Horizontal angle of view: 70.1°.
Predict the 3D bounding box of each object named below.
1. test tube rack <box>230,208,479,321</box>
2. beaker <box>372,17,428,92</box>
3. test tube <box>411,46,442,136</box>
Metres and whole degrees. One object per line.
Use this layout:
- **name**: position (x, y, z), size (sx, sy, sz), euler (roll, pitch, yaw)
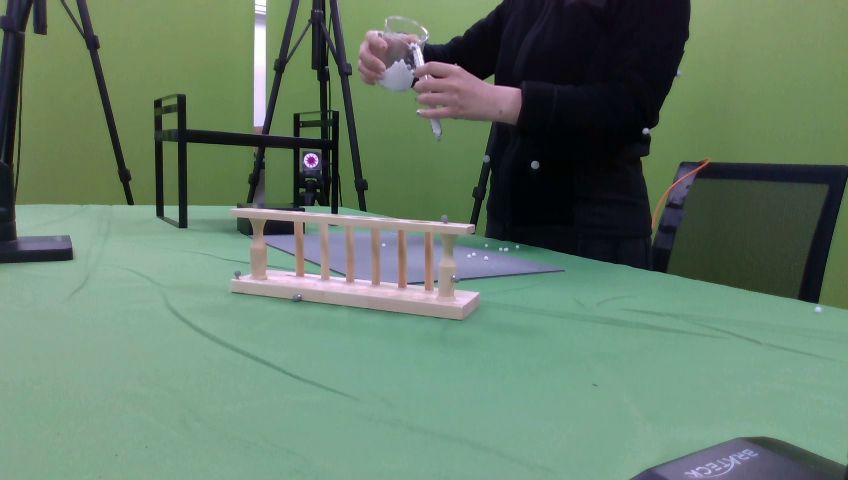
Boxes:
- **test tube rack**: position (-0.069, 0.017, 0.598), size (0.242, 0.085, 0.067), euler (5, 8, 18)
- **beaker**: position (-0.042, -0.304, 1.005), size (0.074, 0.100, 0.083), euler (1, 47, -22)
- **test tube**: position (0.004, -0.231, 0.938), size (0.017, 0.150, 0.017), euler (-14, -10, -2)
